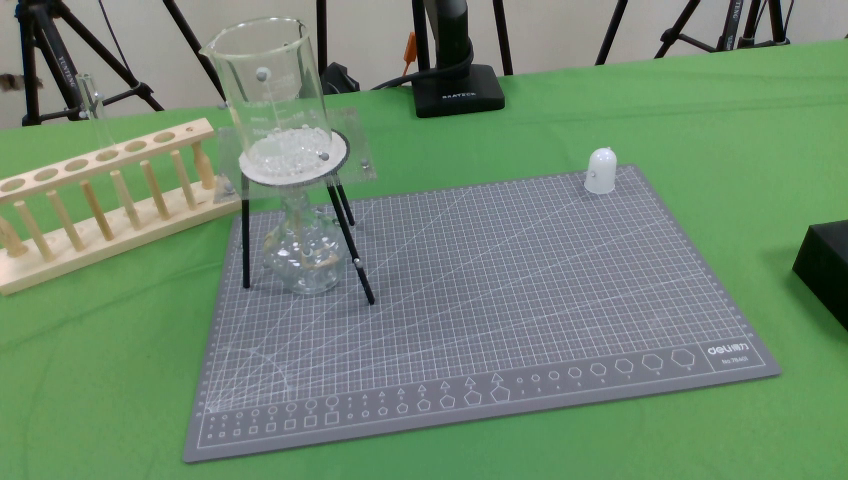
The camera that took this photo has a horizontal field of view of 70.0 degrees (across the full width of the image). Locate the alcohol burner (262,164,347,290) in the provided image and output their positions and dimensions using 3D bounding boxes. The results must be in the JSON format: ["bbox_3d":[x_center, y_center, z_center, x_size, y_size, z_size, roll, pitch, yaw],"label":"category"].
[{"bbox_3d":[-0.109,-0.015,0.541,0.078,0.120,0.077,-3,39,3],"label":"alcohol burner"}]

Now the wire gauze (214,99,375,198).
[{"bbox_3d":[-0.109,-0.076,0.496,0.125,0.011,0.120,-13,39,-5],"label":"wire gauze"}]

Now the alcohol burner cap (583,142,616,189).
[{"bbox_3d":[0.187,-0.081,0.643,0.034,0.048,0.033,-3,41,3],"label":"alcohol burner cap"}]

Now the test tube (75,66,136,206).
[{"bbox_3d":[-0.319,-0.100,0.612,0.017,0.151,0.017,-1,34,1],"label":"test tube"}]

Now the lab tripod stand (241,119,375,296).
[{"bbox_3d":[-0.104,-0.027,0.539,0.148,0.133,0.147,-3,42,3],"label":"lab tripod stand"}]

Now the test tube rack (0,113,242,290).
[{"bbox_3d":[-0.324,-0.045,0.625,0.243,0.086,0.066,-23,44,-20],"label":"test tube rack"}]

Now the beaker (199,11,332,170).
[{"bbox_3d":[-0.115,-0.111,0.462,0.084,0.101,0.073,-6,40,1],"label":"beaker"}]
